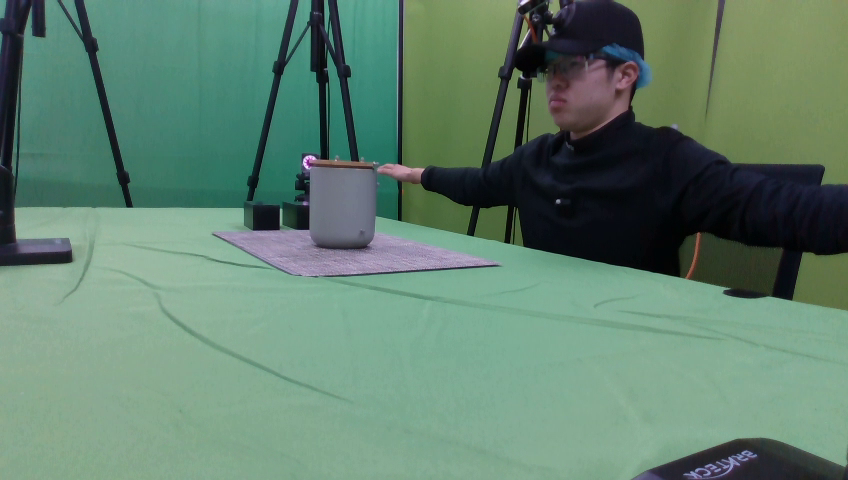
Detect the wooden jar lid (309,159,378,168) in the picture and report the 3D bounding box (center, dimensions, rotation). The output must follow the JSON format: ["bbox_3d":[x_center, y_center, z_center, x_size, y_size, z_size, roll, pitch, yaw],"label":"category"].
[{"bbox_3d":[-0.128,-0.117,0.957,0.108,0.020,0.108,3,7,0],"label":"wooden jar lid"}]

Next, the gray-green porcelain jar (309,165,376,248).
[{"bbox_3d":[-0.130,-0.054,0.966,0.106,0.126,0.106,2,7,0],"label":"gray-green porcelain jar"}]
